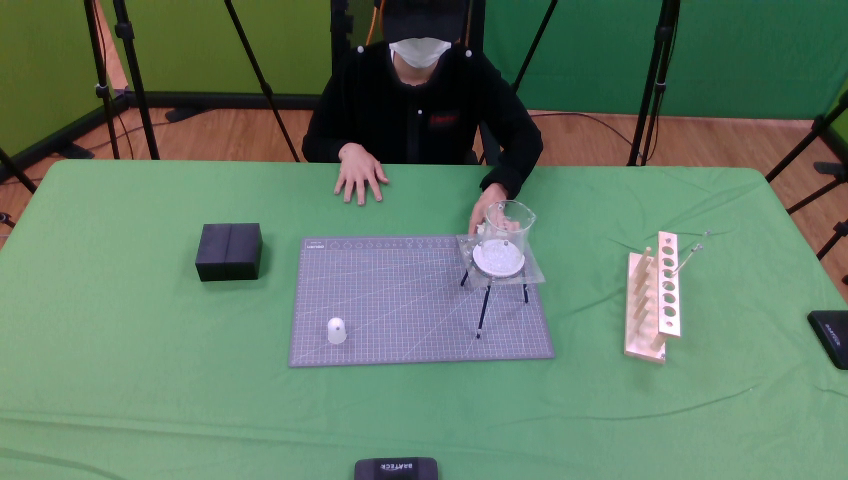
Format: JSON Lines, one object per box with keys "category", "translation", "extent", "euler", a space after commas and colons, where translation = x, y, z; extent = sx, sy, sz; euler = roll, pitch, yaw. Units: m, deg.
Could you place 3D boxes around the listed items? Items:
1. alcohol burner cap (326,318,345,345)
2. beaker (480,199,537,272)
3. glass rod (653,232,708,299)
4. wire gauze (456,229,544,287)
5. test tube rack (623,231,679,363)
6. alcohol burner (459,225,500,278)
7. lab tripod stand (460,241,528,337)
{"category": "alcohol burner cap", "translation": [-0.149, 0.151, 1.023], "extent": [0.034, 0.048, 0.033], "euler": [2, 46, -2]}
{"category": "beaker", "translation": [0.132, -0.004, 0.973], "extent": [0.084, 0.101, 0.073], "euler": [-4, 47, -9]}
{"category": "glass rod", "translation": [0.441, 0.049, 1.050], "extent": [0.008, 0.200, 0.008], "euler": [4, 52, -5]}
{"category": "wire gauze", "translation": [0.125, 0.030, 1.008], "extent": [0.125, 0.011, 0.120], "euler": [-3, 48, -11]}
{"category": "test tube rack", "translation": [0.410, 0.094, 1.096], "extent": [0.066, 0.085, 0.241], "euler": [13, 46, 9]}
{"category": "alcohol burner", "translation": [0.105, 0.014, 1.126], "extent": [0.078, 0.119, 0.077], "euler": [3, 48, -3]}
{"category": "lab tripod stand", "translation": [0.122, 0.075, 1.054], "extent": [0.148, 0.132, 0.147], "euler": [3, 44, -2]}
